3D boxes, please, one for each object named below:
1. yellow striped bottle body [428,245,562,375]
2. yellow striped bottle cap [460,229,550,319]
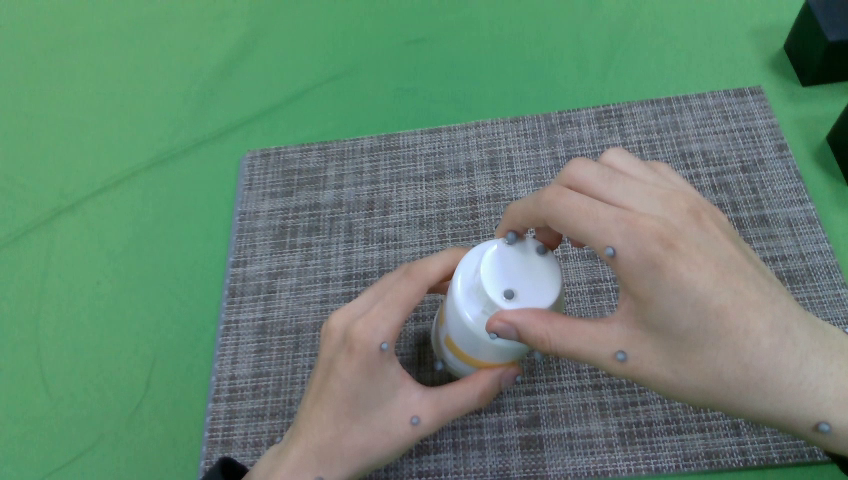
[{"bbox_3d":[0.040,0.040,0.358,0.063,0.121,0.062,3,68,-6],"label":"yellow striped bottle body"},{"bbox_3d":[0.042,0.017,0.311,0.044,0.019,0.044,7,67,-17],"label":"yellow striped bottle cap"}]
